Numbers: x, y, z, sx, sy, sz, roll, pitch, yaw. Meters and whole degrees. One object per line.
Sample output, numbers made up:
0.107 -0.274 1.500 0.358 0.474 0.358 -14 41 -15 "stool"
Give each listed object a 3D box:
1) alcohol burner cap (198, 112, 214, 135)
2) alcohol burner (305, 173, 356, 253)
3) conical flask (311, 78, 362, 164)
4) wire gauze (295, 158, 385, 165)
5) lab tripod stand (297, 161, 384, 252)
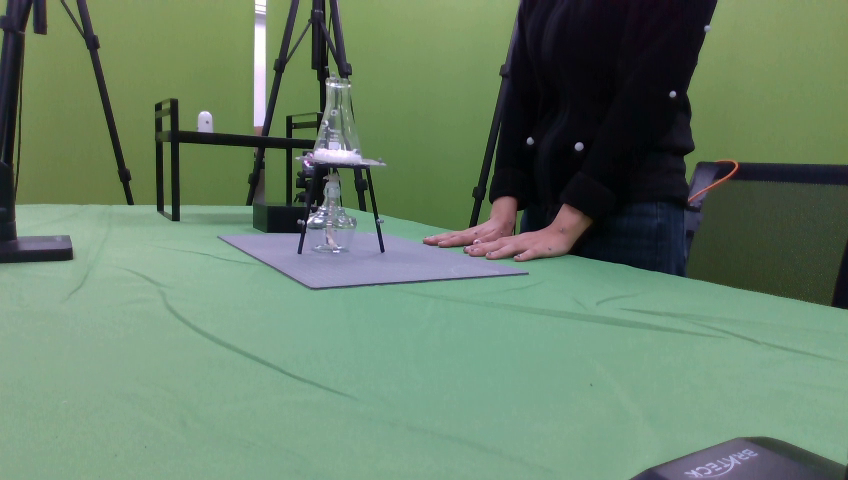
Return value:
-0.459 -0.246 1.271 0.034 0.048 0.034 2 6 0 "alcohol burner cap"
-0.139 -0.041 0.898 0.078 0.119 0.078 4 8 0 "alcohol burner"
-0.128 -0.174 0.890 0.075 0.122 0.075 3 8 0 "conical flask"
-0.128 -0.117 0.901 0.125 0.011 0.121 -2 8 -14 "wire gauze"
-0.130 -0.051 0.903 0.148 0.131 0.148 3 9 0 "lab tripod stand"
